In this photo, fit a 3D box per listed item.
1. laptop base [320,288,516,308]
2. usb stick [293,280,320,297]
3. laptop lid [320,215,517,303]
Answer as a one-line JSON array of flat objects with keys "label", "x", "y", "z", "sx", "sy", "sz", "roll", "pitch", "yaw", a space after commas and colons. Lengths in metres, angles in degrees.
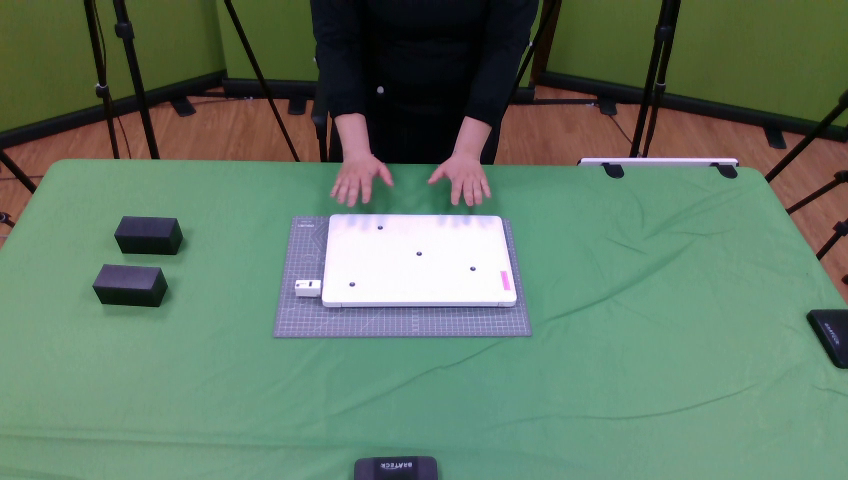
[{"label": "laptop base", "x": -0.013, "y": 0.040, "z": 1.160, "sx": 0.355, "sy": 0.023, "sz": 0.234, "roll": 0, "pitch": 43, "yaw": -4}, {"label": "usb stick", "x": -0.202, "y": 0.087, "z": 1.082, "sx": 0.059, "sy": 0.027, "sz": 0.021, "roll": 4, "pitch": 45, "yaw": -4}, {"label": "laptop lid", "x": -0.012, "y": 0.030, "z": 1.153, "sx": 0.357, "sy": 0.013, "sz": 0.240, "roll": 2, "pitch": 43, "yaw": -3}]
